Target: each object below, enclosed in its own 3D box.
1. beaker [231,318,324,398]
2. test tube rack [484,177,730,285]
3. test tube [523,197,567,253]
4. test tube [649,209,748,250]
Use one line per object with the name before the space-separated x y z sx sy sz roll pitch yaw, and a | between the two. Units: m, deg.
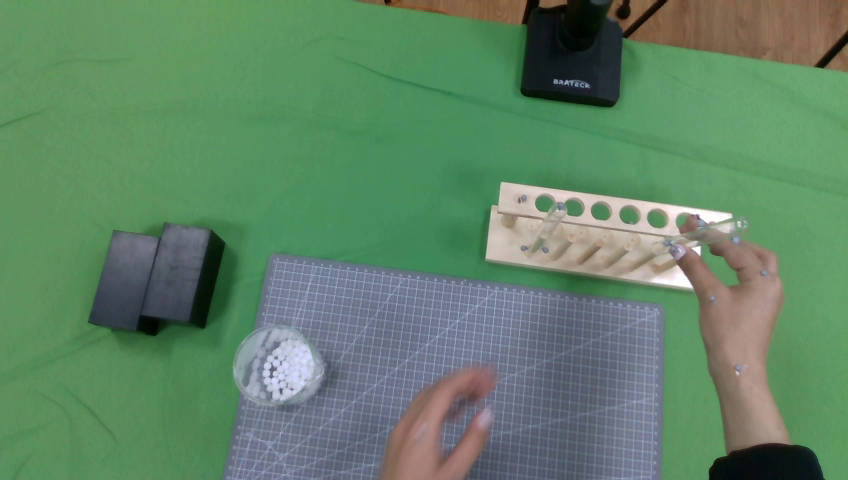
beaker | -0.138 0.122 0.607 0.084 0.100 0.073 8 75 0
test tube rack | 0.194 -0.007 0.664 0.242 0.085 0.066 8 74 0
test tube | 0.121 -0.013 0.617 0.017 0.151 0.017 0 74 -1
test tube | 0.238 -0.007 0.536 0.017 0.150 0.017 1 82 -4
